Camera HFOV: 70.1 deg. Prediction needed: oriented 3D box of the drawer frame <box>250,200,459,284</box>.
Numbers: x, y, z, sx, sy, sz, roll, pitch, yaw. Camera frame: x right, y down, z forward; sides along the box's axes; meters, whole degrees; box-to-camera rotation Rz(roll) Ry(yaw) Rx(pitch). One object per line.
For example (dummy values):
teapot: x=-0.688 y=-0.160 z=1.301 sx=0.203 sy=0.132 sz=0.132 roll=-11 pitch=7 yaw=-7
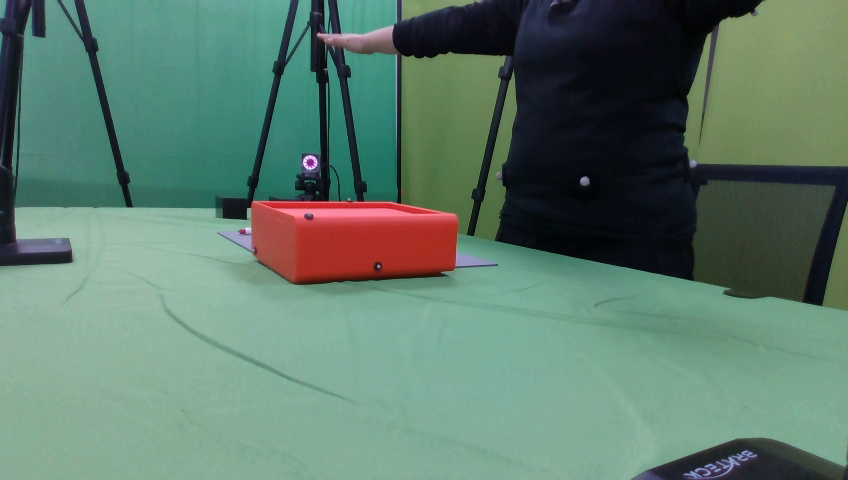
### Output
drawer frame: x=-0.096 y=-0.005 z=0.788 sx=0.215 sy=0.082 sz=0.200 roll=-3 pitch=10 yaw=-30

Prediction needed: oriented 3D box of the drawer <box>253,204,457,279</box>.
drawer: x=-0.095 y=-0.004 z=0.790 sx=0.213 sy=0.073 sz=0.193 roll=-3 pitch=10 yaw=-30

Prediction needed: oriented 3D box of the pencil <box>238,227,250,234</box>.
pencil: x=-0.240 y=-0.015 z=1.105 sx=0.195 sy=0.012 sz=0.012 roll=1 pitch=7 yaw=-30
